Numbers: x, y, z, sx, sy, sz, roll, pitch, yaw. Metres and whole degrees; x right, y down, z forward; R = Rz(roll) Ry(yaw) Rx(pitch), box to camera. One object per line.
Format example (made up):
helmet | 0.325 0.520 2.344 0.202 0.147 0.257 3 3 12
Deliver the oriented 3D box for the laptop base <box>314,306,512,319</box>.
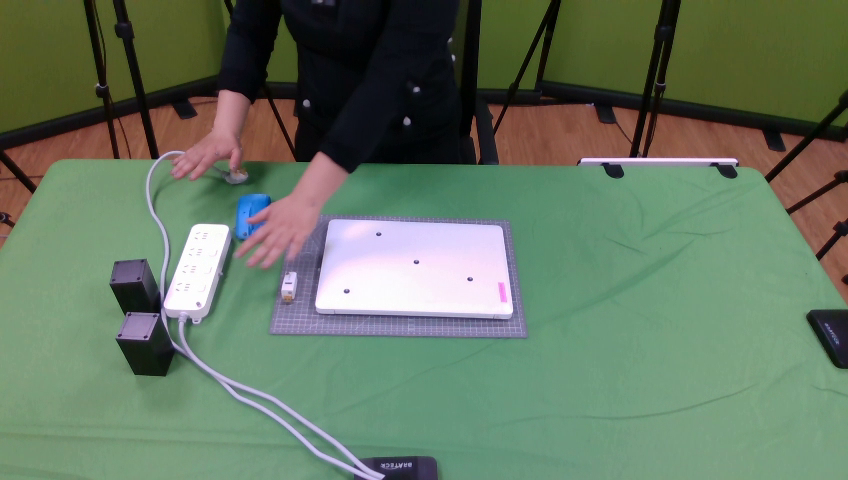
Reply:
laptop base | -0.018 0.055 1.144 0.354 0.023 0.234 2 42 -2

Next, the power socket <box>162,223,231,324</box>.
power socket | -0.412 0.052 1.106 0.072 0.033 0.225 4 46 -3

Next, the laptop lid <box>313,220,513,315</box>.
laptop lid | -0.017 0.045 1.138 0.357 0.013 0.240 3 43 -1

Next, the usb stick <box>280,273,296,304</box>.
usb stick | -0.245 0.088 1.086 0.021 0.027 0.059 5 46 -4

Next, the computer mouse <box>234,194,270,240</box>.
computer mouse | -0.342 -0.049 1.208 0.063 0.041 0.116 0 50 -8

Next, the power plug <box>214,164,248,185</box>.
power plug | -0.408 -0.143 1.277 0.073 0.053 0.035 25 34 -13
